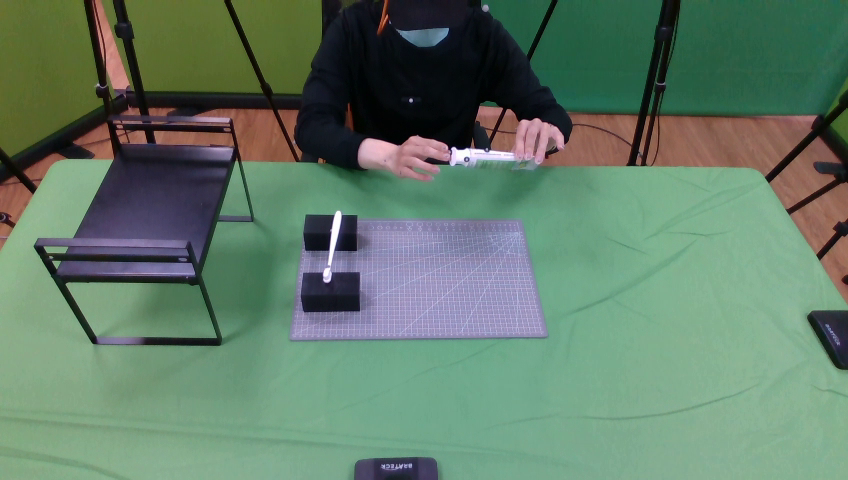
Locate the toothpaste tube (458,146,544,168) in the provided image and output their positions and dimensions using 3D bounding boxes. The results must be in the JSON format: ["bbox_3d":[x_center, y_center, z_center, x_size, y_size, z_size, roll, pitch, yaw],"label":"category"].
[{"bbox_3d":[0.137,-0.152,1.121,0.165,0.055,0.034,3,76,-14],"label":"toothpaste tube"}]

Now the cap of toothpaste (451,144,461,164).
[{"bbox_3d":[0.059,-0.157,1.104,0.011,0.037,0.037,2,46,-17],"label":"cap of toothpaste"}]

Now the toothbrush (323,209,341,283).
[{"bbox_3d":[-0.167,0.005,1.106,0.014,0.017,0.180,-5,45,7],"label":"toothbrush"}]
